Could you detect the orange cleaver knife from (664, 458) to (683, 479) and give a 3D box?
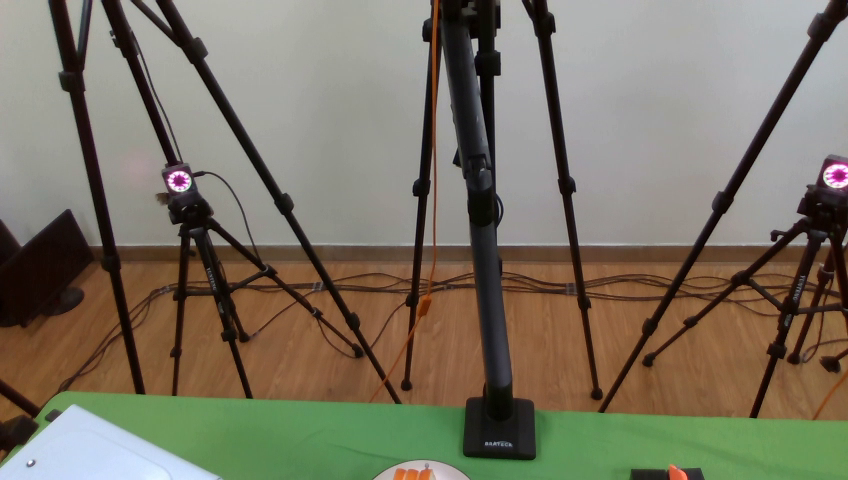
[{"bbox_3d":[0.353,0.406,0.824,0.012,0.078,0.209,-3,67,3],"label":"orange cleaver knife"}]

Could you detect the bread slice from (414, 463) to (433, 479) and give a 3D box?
[{"bbox_3d":[0.001,0.383,0.852,0.018,0.135,0.106,-3,41,8],"label":"bread slice"}]

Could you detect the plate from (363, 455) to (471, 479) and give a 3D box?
[{"bbox_3d":[-0.013,0.420,0.897,0.207,0.039,0.205,-3,37,3],"label":"plate"}]

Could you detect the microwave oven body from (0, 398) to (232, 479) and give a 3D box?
[{"bbox_3d":[-0.452,0.465,0.705,0.324,0.262,0.440,14,43,23],"label":"microwave oven body"}]
